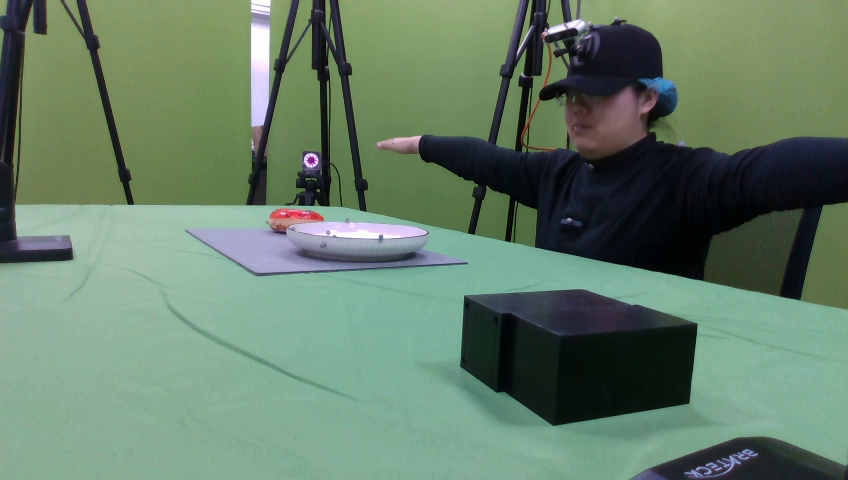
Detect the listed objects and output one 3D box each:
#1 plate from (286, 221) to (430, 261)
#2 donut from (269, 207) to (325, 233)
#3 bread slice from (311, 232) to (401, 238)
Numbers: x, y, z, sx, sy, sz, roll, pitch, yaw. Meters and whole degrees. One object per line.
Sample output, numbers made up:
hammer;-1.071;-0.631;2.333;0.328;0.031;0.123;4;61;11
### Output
plate;-0.096;0.001;0.886;0.209;0.038;0.209;2;7;0
donut;-0.230;-0.036;1.098;0.099;0.048;0.099;3;5;0
bread slice;-0.101;0.002;0.885;0.135;0.018;0.106;-3;8;-38
